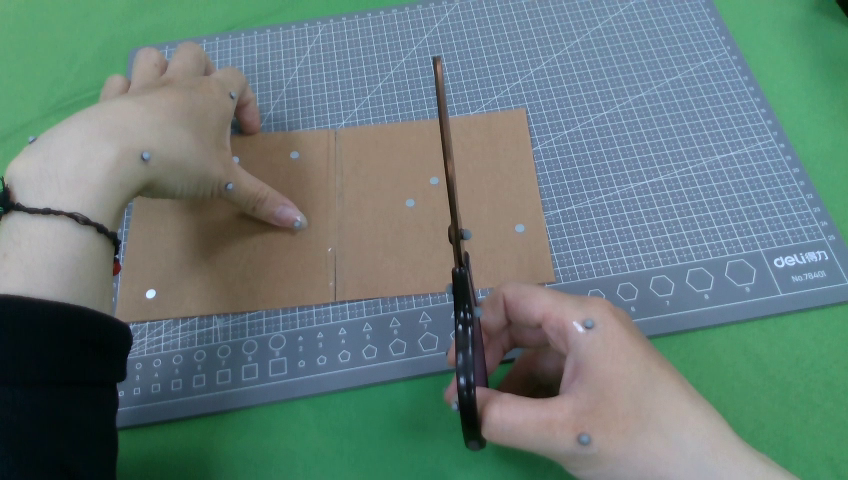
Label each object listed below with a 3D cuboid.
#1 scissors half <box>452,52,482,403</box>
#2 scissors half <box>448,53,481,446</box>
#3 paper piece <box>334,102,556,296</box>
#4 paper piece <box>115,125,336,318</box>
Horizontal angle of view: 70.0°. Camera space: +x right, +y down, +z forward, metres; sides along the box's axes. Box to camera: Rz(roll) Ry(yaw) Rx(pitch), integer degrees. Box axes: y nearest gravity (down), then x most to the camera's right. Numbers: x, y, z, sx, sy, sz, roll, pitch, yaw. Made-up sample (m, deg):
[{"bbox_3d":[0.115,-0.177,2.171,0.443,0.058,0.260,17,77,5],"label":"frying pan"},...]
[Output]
[{"bbox_3d":[0.019,0.004,0.278,0.013,0.176,0.039,0,31,10],"label":"scissors half"},{"bbox_3d":[0.016,0.012,0.260,0.013,0.040,0.176,-2,104,5],"label":"scissors half"},{"bbox_3d":[0.008,-0.030,0.392,0.136,0.004,0.134,-5,62,2],"label":"paper piece"},{"bbox_3d":[-0.124,-0.018,0.395,0.138,0.009,0.135,-4,60,2],"label":"paper piece"}]
